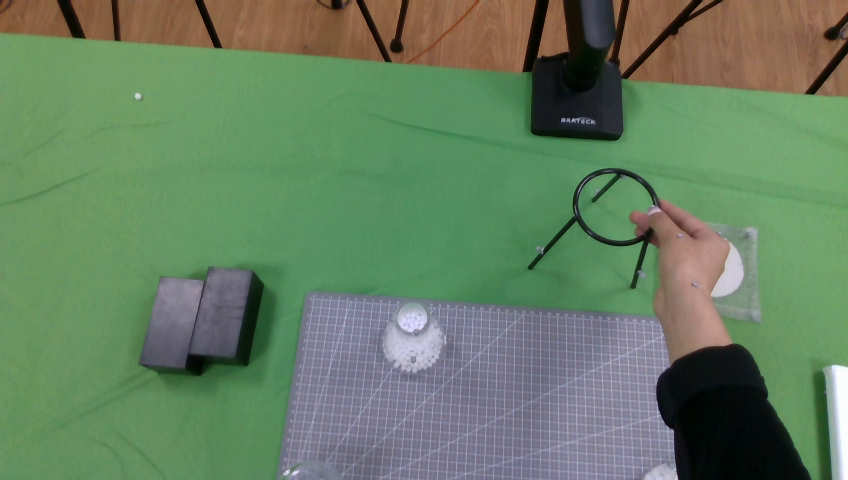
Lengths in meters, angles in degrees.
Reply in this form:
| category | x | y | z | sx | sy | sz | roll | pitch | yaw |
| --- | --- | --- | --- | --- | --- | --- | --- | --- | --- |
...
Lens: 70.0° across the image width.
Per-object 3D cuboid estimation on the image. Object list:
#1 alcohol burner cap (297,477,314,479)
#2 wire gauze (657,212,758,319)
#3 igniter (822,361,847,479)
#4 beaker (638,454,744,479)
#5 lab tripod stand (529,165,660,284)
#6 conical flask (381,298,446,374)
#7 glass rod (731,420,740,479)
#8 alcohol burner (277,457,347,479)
| category | x | y | z | sx | sy | sz | roll | pitch | yaw |
| --- | --- | --- | --- | --- | --- | --- | --- | --- | --- |
| alcohol burner cap | -0.112 | 0.237 | 0.556 | 0.034 | 0.048 | 0.033 | 1 | 73 | -3 |
| wire gauze | 0.347 | 0.028 | 0.741 | 0.125 | 0.011 | 0.120 | 10 | 69 | 1 |
| igniter | 0.447 | 0.266 | 0.639 | 0.057 | 0.025 | 0.275 | 13 | 69 | -7 |
| beaker | 0.262 | 0.251 | 0.601 | 0.084 | 0.101 | 0.073 | -31 | 72 | -12 |
| lab tripod stand | 0.197 | -0.013 | 0.688 | 0.148 | 0.132 | 0.147 | 0 | 70 | 0 |
| conical flask | -0.012 | 0.096 | 0.646 | 0.075 | 0.122 | 0.075 | 0 | 68 | 0 |
| glass rod | 0.332 | 0.291 | 0.638 | 0.008 | 0.008 | 0.198 | 8 | 69 | 2 |
| alcohol burner | -0.113 | 0.251 | 0.589 | 0.078 | 0.120 | 0.077 | -1 | 67 | 2 |
